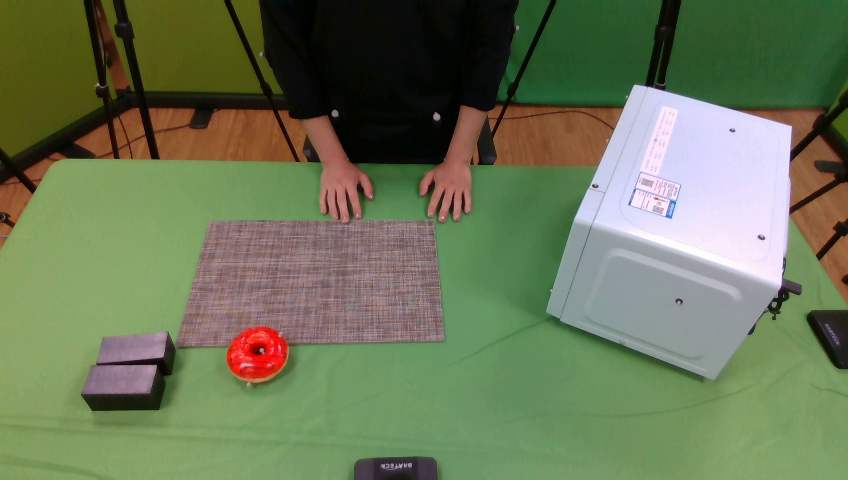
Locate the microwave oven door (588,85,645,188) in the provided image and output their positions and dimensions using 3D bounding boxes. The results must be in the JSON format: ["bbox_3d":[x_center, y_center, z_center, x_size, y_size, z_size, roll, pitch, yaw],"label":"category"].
[{"bbox_3d":[0.342,-0.107,1.149,0.039,0.245,0.354,20,48,15],"label":"microwave oven door"}]

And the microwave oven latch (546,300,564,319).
[{"bbox_3d":[0.242,0.102,1.081,0.030,0.029,0.079,21,48,17],"label":"microwave oven latch"}]

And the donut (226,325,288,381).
[{"bbox_3d":[-0.270,0.182,0.984,0.099,0.048,0.098,5,49,-5],"label":"donut"}]

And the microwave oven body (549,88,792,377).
[{"bbox_3d":[0.456,-0.028,1.088,0.325,0.261,0.440,20,47,16],"label":"microwave oven body"}]
